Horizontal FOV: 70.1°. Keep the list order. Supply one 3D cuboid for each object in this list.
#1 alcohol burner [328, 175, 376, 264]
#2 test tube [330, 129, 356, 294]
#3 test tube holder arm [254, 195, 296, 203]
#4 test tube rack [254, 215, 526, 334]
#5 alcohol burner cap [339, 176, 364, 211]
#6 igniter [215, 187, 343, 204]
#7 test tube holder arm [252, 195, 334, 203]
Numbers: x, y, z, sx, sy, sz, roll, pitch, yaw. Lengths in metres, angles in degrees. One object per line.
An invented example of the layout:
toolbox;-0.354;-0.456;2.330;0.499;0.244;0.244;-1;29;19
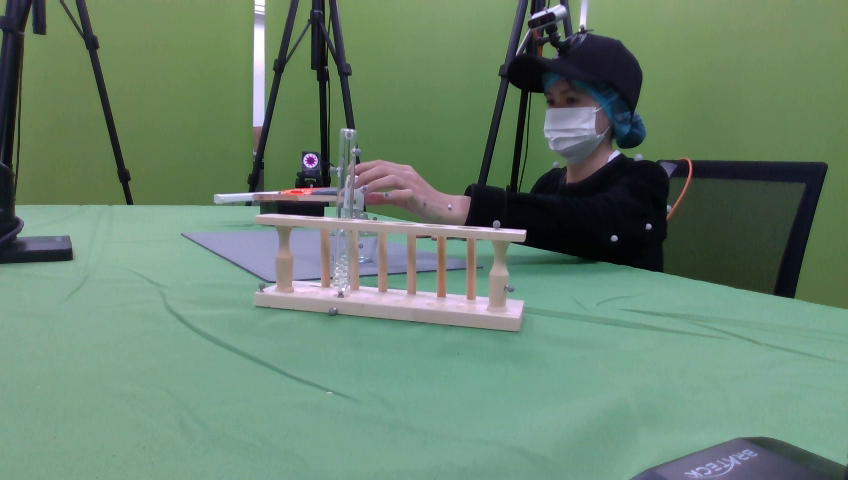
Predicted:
alcohol burner;-0.098;-0.028;0.819;0.078;0.119;0.078;1;8;0
test tube;-0.074;-0.025;0.548;0.017;0.150;0.017;4;6;0
test tube holder arm;-0.294;-0.081;1.195;0.088;0.015;0.010;-5;11;-38
test tube rack;-0.030;0.025;0.558;0.242;0.085;0.067;4;7;12
alcohol burner cap;-0.096;-0.063;0.814;0.034;0.048;0.034;6;7;0
igniter;-0.289;-0.093;1.255;0.278;0.025;0.057;-6;11;-34
test tube holder arm;-0.262;-0.085;1.228;0.179;0.015;0.013;-5;12;-40
